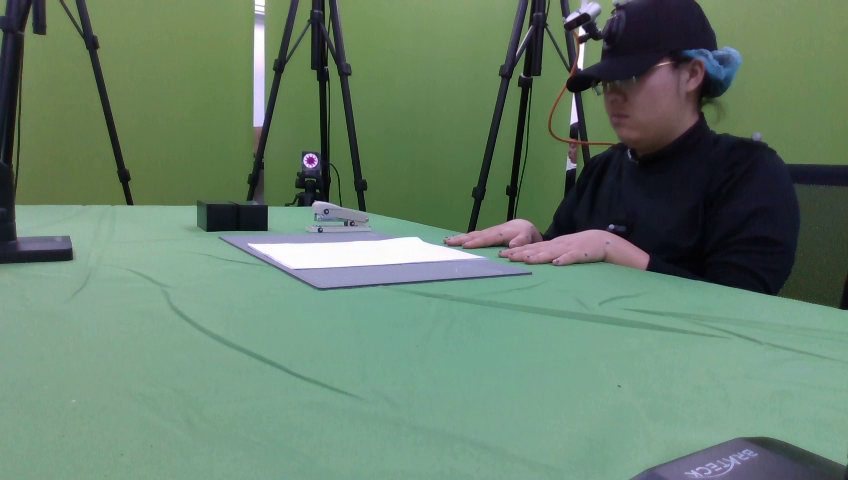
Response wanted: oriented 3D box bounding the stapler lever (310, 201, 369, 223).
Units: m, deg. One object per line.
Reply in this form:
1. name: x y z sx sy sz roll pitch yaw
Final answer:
1. stapler lever: -0.166 -0.054 1.185 0.119 0.040 0.026 1 9 -33

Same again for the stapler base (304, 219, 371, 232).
1. stapler base: -0.169 -0.029 1.186 0.131 0.024 0.041 0 9 -33
